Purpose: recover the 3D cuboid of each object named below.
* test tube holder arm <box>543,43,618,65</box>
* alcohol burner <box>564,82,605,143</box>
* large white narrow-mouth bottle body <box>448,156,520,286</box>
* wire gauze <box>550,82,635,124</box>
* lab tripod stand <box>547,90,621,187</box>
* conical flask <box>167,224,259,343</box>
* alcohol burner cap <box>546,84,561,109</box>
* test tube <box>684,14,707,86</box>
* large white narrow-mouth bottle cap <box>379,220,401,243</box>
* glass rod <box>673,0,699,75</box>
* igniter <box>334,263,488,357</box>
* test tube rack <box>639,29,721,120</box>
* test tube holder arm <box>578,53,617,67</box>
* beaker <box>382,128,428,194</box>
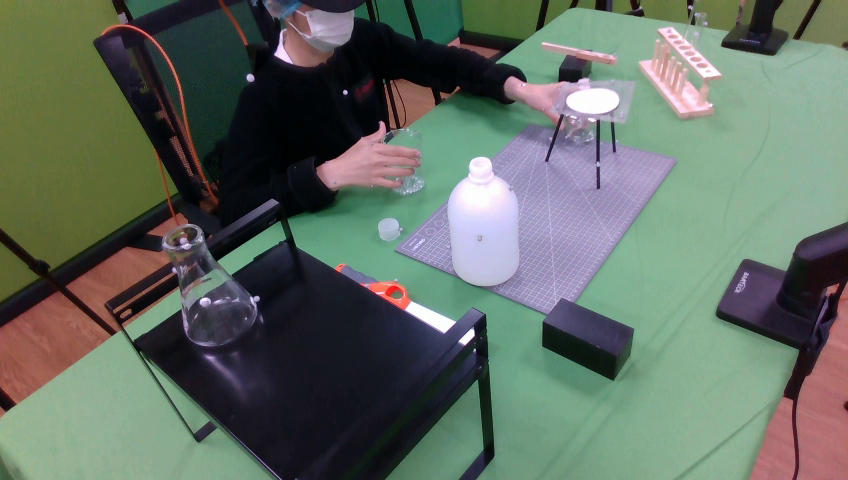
[{"bbox_3d":[0.345,-0.413,1.341,0.177,0.015,0.013,25,50,31],"label":"test tube holder arm"},{"bbox_3d":[0.301,-0.245,1.138,0.078,0.119,0.077,-4,42,4],"label":"alcohol burner"},{"bbox_3d":[0.086,-0.032,0.869,0.102,0.195,0.101,-4,40,4],"label":"large white narrow-mouth bottle body"},{"bbox_3d":[0.285,-0.236,1.020,0.124,0.011,0.121,10,44,22],"label":"wire gauze"},{"bbox_3d":[0.289,-0.184,1.062,0.148,0.132,0.147,-6,41,6],"label":"lab tripod stand"},{"bbox_3d":[-0.220,0.041,0.613,0.075,0.122,0.075,-5,40,4],"label":"conical flask"},{"bbox_3d":[0.274,-0.308,1.285,0.034,0.048,0.033,-6,41,6],"label":"alcohol burner cap"},{"bbox_3d":[0.541,-0.379,1.216,0.017,0.151,0.017,-2,44,2],"label":"test tube"},{"bbox_3d":[-0.057,-0.015,1.011,0.038,0.024,0.037,-4,40,4],"label":"large white narrow-mouth bottle cap"},{"bbox_3d":[0.541,-0.427,1.246,0.008,0.200,0.008,0,48,1],"label":"glass rod"},{"bbox_3d":[-0.030,0.095,0.872,0.274,0.025,0.057,23,59,31],"label":"igniter"},{"bbox_3d":[0.527,-0.351,1.262,0.067,0.085,0.241,-8,40,1],"label":"test tube rack"},{"bbox_3d":[0.376,-0.393,1.314,0.087,0.015,0.010,26,51,32],"label":"test tube holder arm"},{"bbox_3d":[-0.030,-0.142,1.096,0.073,0.100,0.084,13,43,22],"label":"beaker"}]
